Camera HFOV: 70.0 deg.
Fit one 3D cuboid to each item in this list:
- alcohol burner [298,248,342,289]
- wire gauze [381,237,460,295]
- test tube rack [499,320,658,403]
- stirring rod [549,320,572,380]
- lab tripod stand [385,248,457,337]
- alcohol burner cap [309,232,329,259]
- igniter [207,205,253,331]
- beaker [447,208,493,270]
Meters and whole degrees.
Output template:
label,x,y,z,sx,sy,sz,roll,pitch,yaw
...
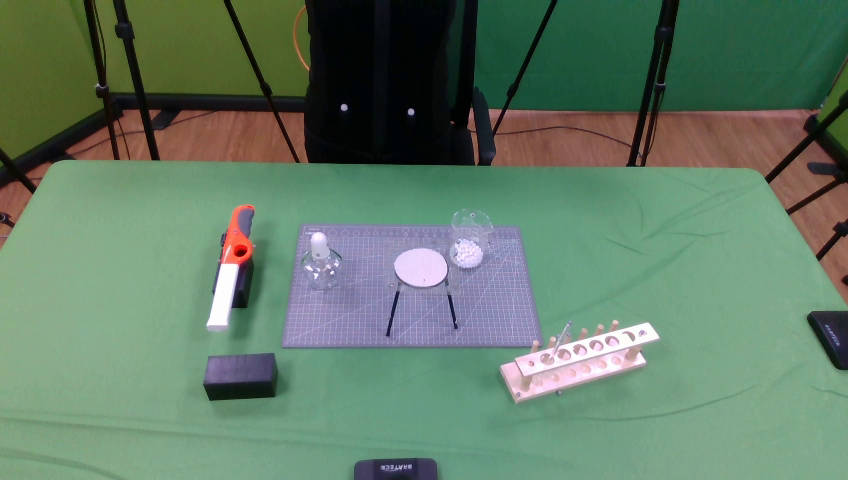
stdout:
label,x,y,z,sx,sy,sz,roll,pitch,yaw
alcohol burner,-0.187,0.032,1.084,0.078,0.120,0.077,1,46,-1
wire gauze,-0.008,0.040,0.984,0.125,0.011,0.120,0,44,-4
test tube rack,0.252,0.187,0.994,0.243,0.085,0.066,-12,48,-15
stirring rod,0.201,0.167,0.901,0.006,0.177,0.014,-16,54,-10
lab tripod stand,-0.010,0.087,1.032,0.148,0.132,0.147,1,45,-1
alcohol burner cap,-0.186,0.008,1.058,0.034,0.048,0.033,0,43,1
igniter,-0.339,0.038,1.066,0.057,0.025,0.274,2,48,-7
beaker,0.084,0.001,1.147,0.084,0.101,0.073,16,47,9
